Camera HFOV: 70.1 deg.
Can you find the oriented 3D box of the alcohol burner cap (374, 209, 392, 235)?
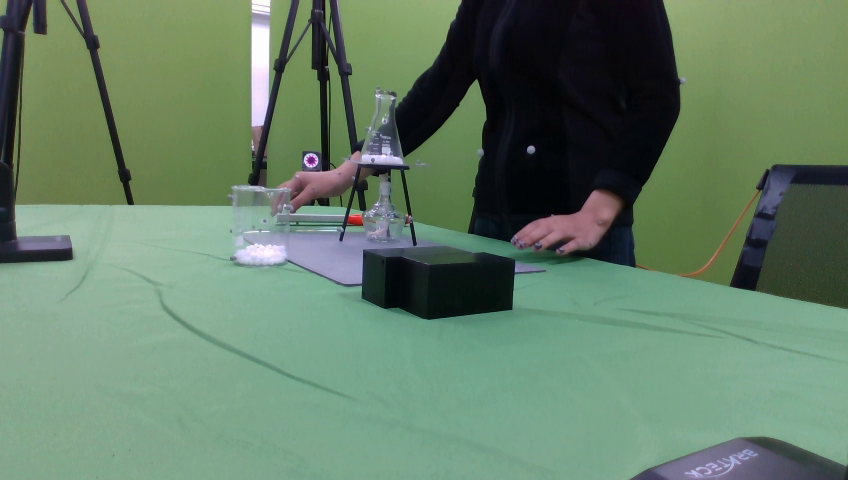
[{"bbox_3d":[-0.077,-0.035,1.148,0.034,0.048,0.034,3,9,0],"label":"alcohol burner cap"}]

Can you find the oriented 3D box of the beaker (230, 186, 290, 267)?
[{"bbox_3d":[-0.209,-0.019,0.778,0.074,0.100,0.084,3,6,4],"label":"beaker"}]

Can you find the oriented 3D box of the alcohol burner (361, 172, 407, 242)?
[{"bbox_3d":[-0.067,-0.056,1.030,0.078,0.119,0.078,3,9,0],"label":"alcohol burner"}]

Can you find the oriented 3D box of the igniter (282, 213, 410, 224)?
[{"bbox_3d":[-0.159,-0.046,1.287,0.278,0.025,0.057,-1,-2,-21],"label":"igniter"}]

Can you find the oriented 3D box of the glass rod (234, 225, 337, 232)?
[{"bbox_3d":[-0.256,-0.022,1.136,0.201,0.008,0.008,-3,8,-33],"label":"glass rod"}]

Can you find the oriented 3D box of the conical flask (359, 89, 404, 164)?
[{"bbox_3d":[-0.068,-0.189,1.011,0.075,0.122,0.075,4,6,0],"label":"conical flask"}]

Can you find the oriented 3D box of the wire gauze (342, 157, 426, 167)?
[{"bbox_3d":[-0.065,-0.130,1.016,0.122,0.011,0.124,1,5,-27],"label":"wire gauze"}]

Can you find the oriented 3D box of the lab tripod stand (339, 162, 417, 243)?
[{"bbox_3d":[-0.067,-0.065,1.027,0.148,0.131,0.148,4,7,0],"label":"lab tripod stand"}]
